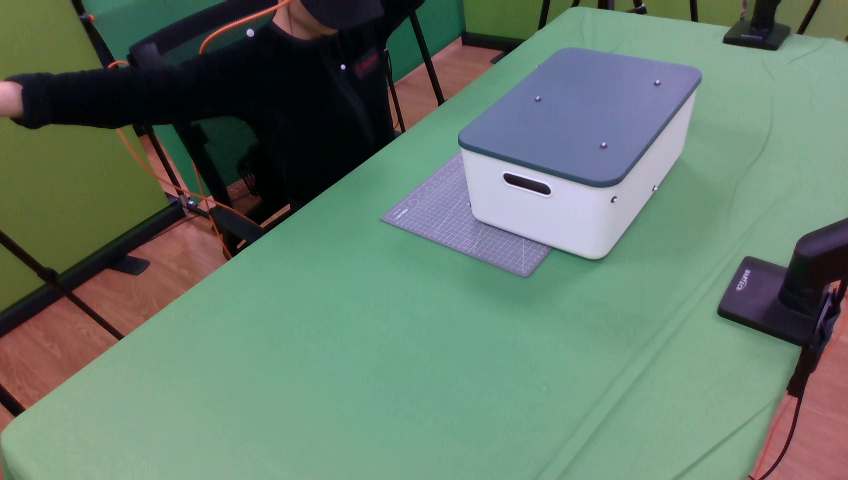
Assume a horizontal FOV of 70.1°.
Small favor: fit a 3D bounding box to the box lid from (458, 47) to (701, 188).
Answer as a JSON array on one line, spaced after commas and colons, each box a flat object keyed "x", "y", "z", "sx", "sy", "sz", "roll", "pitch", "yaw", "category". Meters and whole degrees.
[{"x": 0.253, "y": -0.211, "z": 0.954, "sx": 0.261, "sy": 0.015, "sz": 0.372, "roll": 22, "pitch": 49, "yaw": 30, "category": "box lid"}]

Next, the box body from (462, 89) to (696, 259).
[{"x": 0.261, "y": -0.153, "z": 1.001, "sx": 0.252, "sy": 0.161, "sz": 0.365, "roll": 21, "pitch": 48, "yaw": 31, "category": "box body"}]
